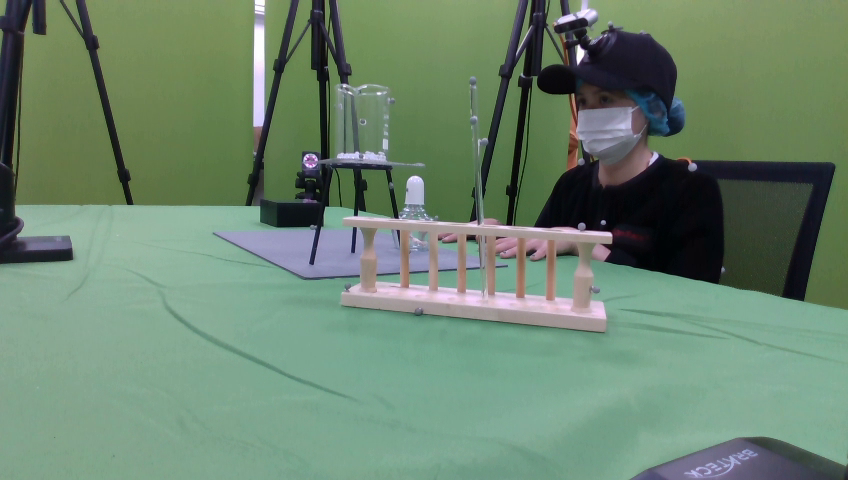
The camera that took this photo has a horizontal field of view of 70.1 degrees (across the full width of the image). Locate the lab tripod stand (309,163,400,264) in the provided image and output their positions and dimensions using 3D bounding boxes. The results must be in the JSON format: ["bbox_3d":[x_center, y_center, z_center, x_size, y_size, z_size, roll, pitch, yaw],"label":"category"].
[{"bbox_3d":[-0.091,-0.037,0.813,0.148,0.131,0.148,1,6,0],"label":"lab tripod stand"}]

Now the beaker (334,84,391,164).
[{"bbox_3d":[-0.082,-0.149,0.791,0.074,0.100,0.084,2,5,4],"label":"beaker"}]

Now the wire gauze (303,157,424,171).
[{"bbox_3d":[-0.082,-0.101,0.799,0.126,0.011,0.121,1,7,-30],"label":"wire gauze"}]

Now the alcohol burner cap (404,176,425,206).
[{"bbox_3d":[-0.015,-0.077,0.951,0.034,0.048,0.034,2,4,0],"label":"alcohol burner cap"}]

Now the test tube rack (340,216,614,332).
[{"bbox_3d":[0.048,0.026,0.568,0.242,0.085,0.067,4,7,13],"label":"test tube rack"}]

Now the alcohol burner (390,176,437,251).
[{"bbox_3d":[-0.016,-0.042,0.955,0.078,0.119,0.078,4,5,0],"label":"alcohol burner"}]

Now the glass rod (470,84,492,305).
[{"bbox_3d":[0.051,-0.036,0.535,0.008,0.199,0.008,-5,10,1],"label":"glass rod"}]
